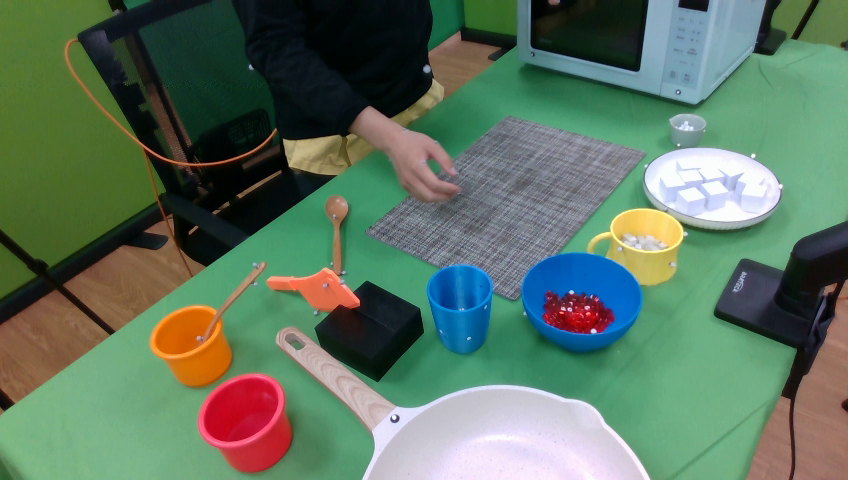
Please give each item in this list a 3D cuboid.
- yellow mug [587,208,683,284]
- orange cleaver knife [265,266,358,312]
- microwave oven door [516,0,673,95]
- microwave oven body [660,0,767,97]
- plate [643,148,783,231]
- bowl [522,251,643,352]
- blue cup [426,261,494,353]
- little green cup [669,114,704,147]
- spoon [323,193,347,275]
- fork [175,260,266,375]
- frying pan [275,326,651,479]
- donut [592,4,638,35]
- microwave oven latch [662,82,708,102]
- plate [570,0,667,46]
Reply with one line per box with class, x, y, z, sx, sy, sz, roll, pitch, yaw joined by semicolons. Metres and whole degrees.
yellow mug;0.305;0.009;0.884;0.131;0.064;0.099;-4;41;5
orange cleaver knife;-0.164;0.073;0.864;0.210;0.077;0.012;-6;30;50
microwave oven door;0.344;-0.458;1.256;0.353;0.245;0.039;26;51;33
microwave oven body;0.473;-0.516;1.314;0.438;0.261;0.327;26;51;34
plate;0.464;-0.080;0.986;0.207;0.039;0.206;-4;41;4
bowl;0.204;0.093;0.792;0.151;0.077;0.150;-4;40;4
blue cup;0.049;0.095;0.791;0.092;0.100;0.092;-3;42;3
little green cup;0.485;-0.203;1.123;0.061;0.039;0.061;-5;40;5
spoon;-0.148;-0.014;1.008;0.042;0.022;0.192;0;40;-8
fork;-0.268;0.102;0.792;0.207;0.019;0.028;-51;41;16
frying pan;0.004;0.229;0.641;0.484;0.103;0.308;34;54;28
donut;0.428;-0.492;1.352;0.099;0.048;0.098;-7;41;6
microwave oven latch;0.517;-0.298;1.202;0.078;0.029;0.030;27;52;34
plate;0.436;-0.488;1.368;0.209;0.038;0.208;-5;40;4
